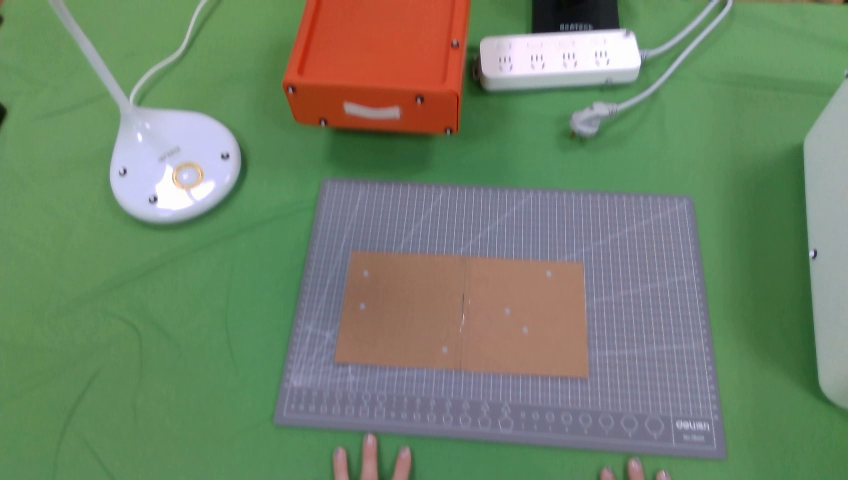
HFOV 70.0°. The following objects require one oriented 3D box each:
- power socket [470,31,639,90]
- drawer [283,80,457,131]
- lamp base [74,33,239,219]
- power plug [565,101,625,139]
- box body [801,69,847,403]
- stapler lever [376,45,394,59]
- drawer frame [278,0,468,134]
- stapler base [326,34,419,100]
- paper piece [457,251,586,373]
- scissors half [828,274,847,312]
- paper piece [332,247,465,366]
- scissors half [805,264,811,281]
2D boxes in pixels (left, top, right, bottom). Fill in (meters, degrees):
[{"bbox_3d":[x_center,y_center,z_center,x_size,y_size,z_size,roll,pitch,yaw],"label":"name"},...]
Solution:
[{"bbox_3d":[0.175,-0.241,0.813,0.227,0.033,0.071,-2,63,1],"label":"power socket"},{"bbox_3d":[-0.051,-0.239,0.744,0.194,0.074,0.210,4,62,5],"label":"drawer"},{"bbox_3d":[-0.326,-0.139,0.695,0.178,0.182,0.160,34,68,21],"label":"lamp base"},{"bbox_3d":[0.214,-0.146,0.760,0.073,0.053,0.035,5,57,-17],"label":"power plug"},{"bbox_3d":[0.540,-0.004,0.601,0.254,0.161,0.361,10,63,8],"label":"box body"},{"bbox_3d":[-0.076,-0.227,0.729,0.117,0.040,0.027,32,84,22],"label":"stapler lever"},{"bbox_3d":[-0.052,-0.242,0.745,0.201,0.083,0.212,4,62,5],"label":"drawer frame"},{"bbox_3d":[-0.068,-0.220,0.754,0.129,0.024,0.041,32,85,20],"label":"stapler base"},{"bbox_3d":[0.106,0.075,0.661,0.135,0.004,0.134,3,63,4],"label":"paper piece"},{"bbox_3d":[0.503,0.021,0.669,0.175,0.013,0.040,-41,77,-20],"label":"scissors half"},{"bbox_3d":[-0.026,0.069,0.670,0.136,0.009,0.137,2,64,7],"label":"paper piece"},{"bbox_3d":[0.491,0.006,0.676,0.175,0.013,0.039,-23,66,-15],"label":"scissors half"}]
